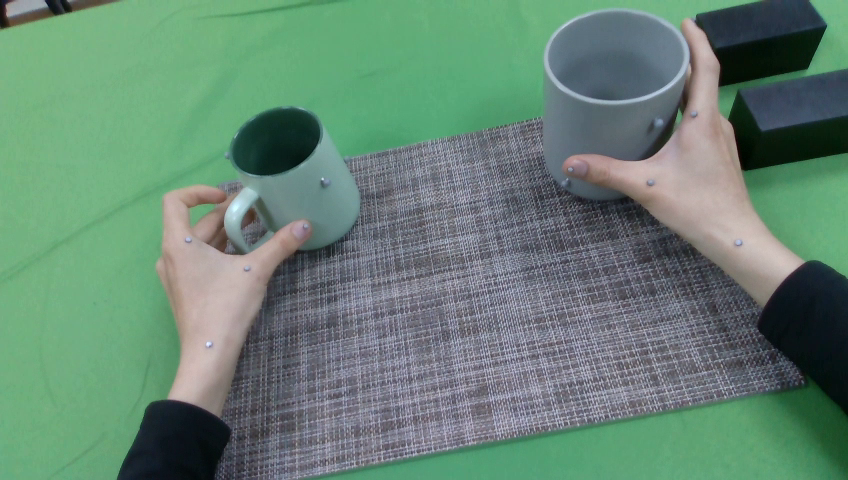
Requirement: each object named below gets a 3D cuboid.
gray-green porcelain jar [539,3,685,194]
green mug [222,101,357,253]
[{"bbox_3d":[0.148,-0.109,0.500,0.106,0.128,0.105,-5,57,7],"label":"gray-green porcelain jar"},{"bbox_3d":[-0.122,-0.043,0.523,0.092,0.106,0.125,25,65,24],"label":"green mug"}]
